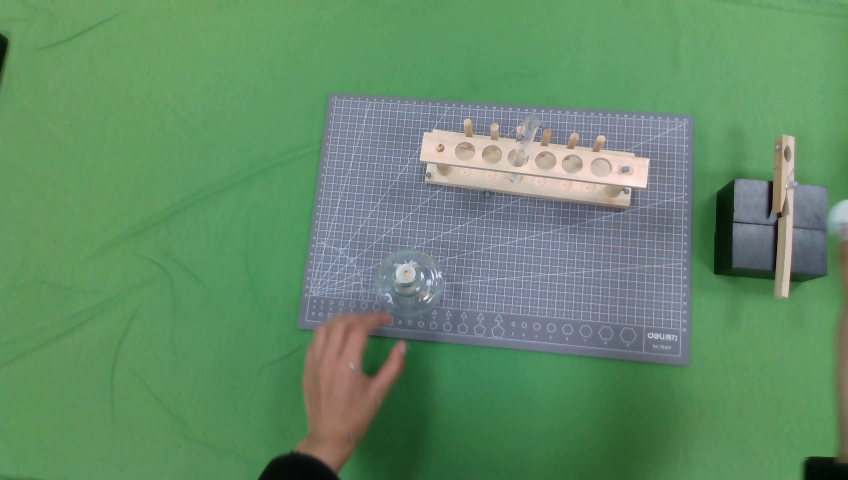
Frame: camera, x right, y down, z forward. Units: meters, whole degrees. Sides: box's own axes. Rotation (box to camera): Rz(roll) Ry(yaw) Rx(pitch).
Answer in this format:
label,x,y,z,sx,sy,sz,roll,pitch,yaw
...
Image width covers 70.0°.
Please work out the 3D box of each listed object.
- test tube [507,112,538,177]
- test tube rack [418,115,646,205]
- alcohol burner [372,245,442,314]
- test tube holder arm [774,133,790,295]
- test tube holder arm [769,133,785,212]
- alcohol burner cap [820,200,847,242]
label,x,y,z,sx,sy,sz,roll,pitch,yaw
test tube,0.102,-0.097,0.642,0.017,0.151,0.017,0,77,2
test tube rack,0.120,-0.097,0.693,0.242,0.085,0.066,8,80,5
alcohol burner,-0.020,0.040,0.660,0.078,0.119,0.077,0,78,2
test tube holder arm,0.386,-0.029,0.654,0.013,0.015,0.177,6,80,-3
test tube holder arm,0.385,-0.074,0.661,0.010,0.015,0.087,6,80,-3
alcohol burner cap,0.333,-0.013,0.464,0.034,0.048,0.034,0,96,1
